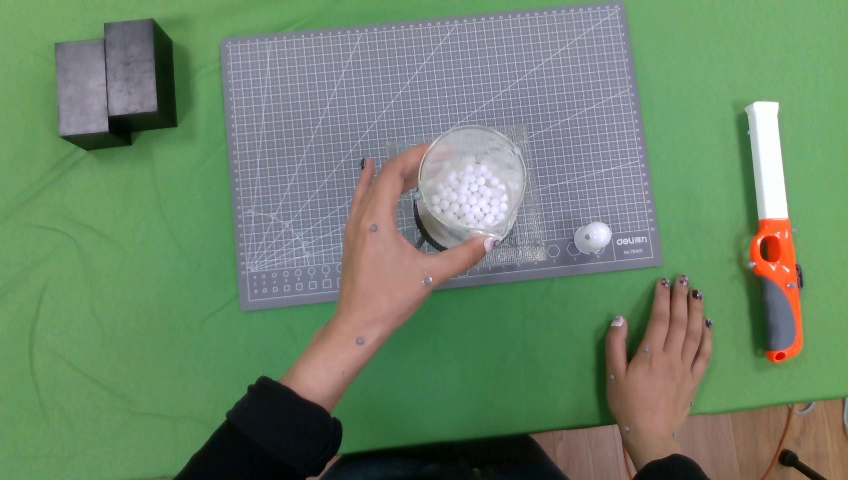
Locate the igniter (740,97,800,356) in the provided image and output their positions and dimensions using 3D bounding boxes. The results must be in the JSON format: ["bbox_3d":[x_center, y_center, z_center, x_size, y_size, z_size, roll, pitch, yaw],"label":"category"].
[{"bbox_3d":[0.367,-0.017,0.645,0.057,0.025,0.275,-1,84,-11],"label":"igniter"}]

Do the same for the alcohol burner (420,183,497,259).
[{"bbox_3d":[0.035,-0.022,0.594,0.078,0.119,0.077,0,81,-1],"label":"alcohol burner"}]

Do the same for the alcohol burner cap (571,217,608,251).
[{"bbox_3d":[0.175,-0.007,0.630,0.034,0.048,0.034,0,83,1],"label":"alcohol burner cap"}]

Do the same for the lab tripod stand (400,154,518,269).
[{"bbox_3d":[0.031,-0.026,0.584,0.148,0.132,0.148,0,82,1],"label":"lab tripod stand"}]

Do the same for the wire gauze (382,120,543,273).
[{"bbox_3d":[0.033,-0.038,0.517,0.125,0.011,0.121,-8,83,-3],"label":"wire gauze"}]

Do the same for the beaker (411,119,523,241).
[{"bbox_3d":[0.034,-0.036,0.456,0.074,0.100,0.083,-29,83,0],"label":"beaker"}]
